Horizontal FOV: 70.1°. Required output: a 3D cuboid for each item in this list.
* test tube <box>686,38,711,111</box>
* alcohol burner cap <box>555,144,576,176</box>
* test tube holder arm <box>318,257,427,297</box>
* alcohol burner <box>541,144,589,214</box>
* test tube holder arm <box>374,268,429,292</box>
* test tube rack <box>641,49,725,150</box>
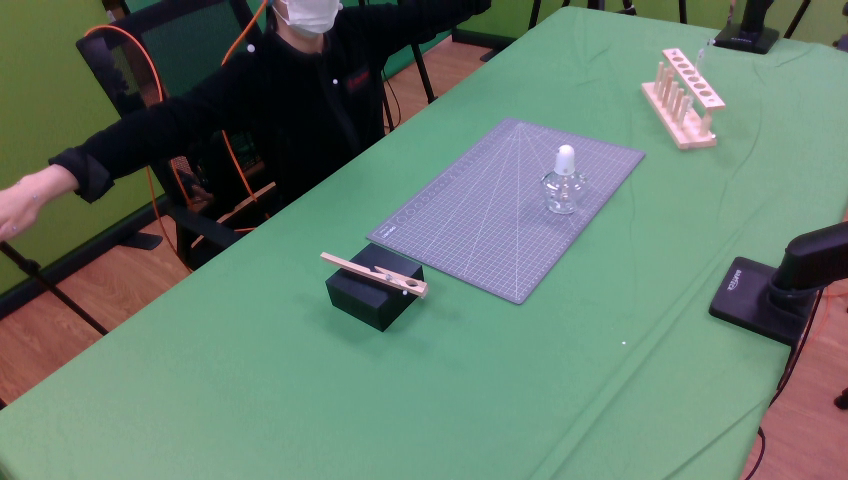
[{"bbox_3d":[0.508,-0.305,1.128,0.017,0.151,0.017,-2,46,3],"label":"test tube"},{"bbox_3d":[0.225,-0.129,0.958,0.034,0.048,0.033,-4,43,4],"label":"alcohol burner cap"},{"bbox_3d":[-0.076,0.050,0.855,0.177,0.015,0.013,13,48,24],"label":"test tube holder arm"},{"bbox_3d":[0.229,-0.102,0.983,0.078,0.119,0.077,-6,41,5],"label":"alcohol burner"},{"bbox_3d":[-0.034,0.056,0.840,0.087,0.015,0.010,14,49,25],"label":"test tube holder arm"},{"bbox_3d":[0.495,-0.279,1.175,0.067,0.085,0.241,-5,41,3],"label":"test tube rack"}]
